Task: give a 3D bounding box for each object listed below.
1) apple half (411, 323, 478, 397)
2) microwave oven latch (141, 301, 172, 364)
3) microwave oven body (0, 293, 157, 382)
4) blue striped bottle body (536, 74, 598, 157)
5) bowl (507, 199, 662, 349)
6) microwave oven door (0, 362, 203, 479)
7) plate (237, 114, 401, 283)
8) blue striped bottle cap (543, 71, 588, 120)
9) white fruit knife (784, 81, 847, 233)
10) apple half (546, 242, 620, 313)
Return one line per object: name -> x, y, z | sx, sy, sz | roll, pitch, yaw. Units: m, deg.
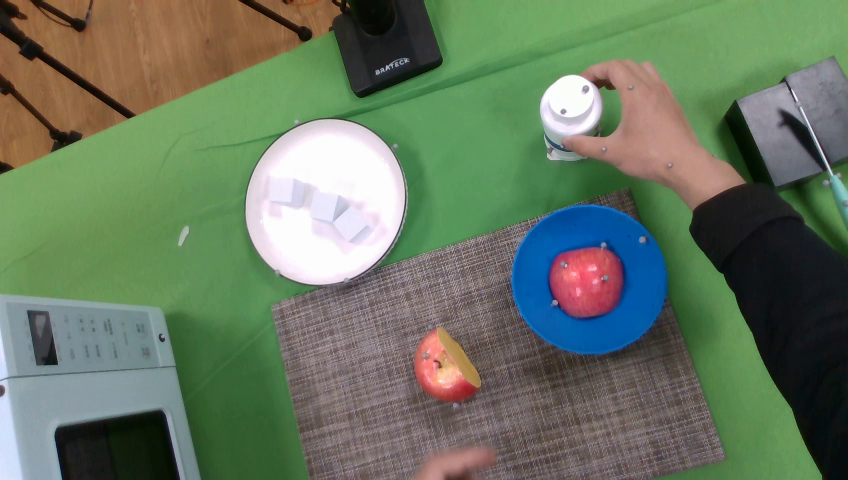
apple half -> 0.016, 0.137, 0.661 | 0.053, 0.075, 0.080 | -39, 79, 10
microwave oven latch -> -0.339, 0.116, 0.750 | 0.030, 0.029, 0.079 | -20, 79, 9
microwave oven body -> -0.445, 0.316, 0.648 | 0.326, 0.261, 0.439 | -20, 79, 9
blue striped bottle body -> 0.152, -0.135, 0.645 | 0.063, 0.121, 0.063 | -2, 81, 12
bowl -> 0.166, 0.038, 0.636 | 0.151, 0.077, 0.151 | -2, 83, 14
microwave oven door -> -0.298, 0.305, 0.610 | 0.039, 0.245, 0.354 | -20, 78, 10
plate -> -0.125, -0.048, 0.741 | 0.207, 0.039, 0.207 | -2, 82, 13
blue striped bottle cap -> 0.139, -0.142, 0.595 | 0.044, 0.021, 0.044 | -2, 81, 11
white fruit knife -> 0.398, -0.063, 0.595 | 0.016, 0.027, 0.207 | -27, 94, 27
apple half -> 0.167, 0.038, 0.631 | 0.081, 0.033, 0.081 | -2, 81, 14
